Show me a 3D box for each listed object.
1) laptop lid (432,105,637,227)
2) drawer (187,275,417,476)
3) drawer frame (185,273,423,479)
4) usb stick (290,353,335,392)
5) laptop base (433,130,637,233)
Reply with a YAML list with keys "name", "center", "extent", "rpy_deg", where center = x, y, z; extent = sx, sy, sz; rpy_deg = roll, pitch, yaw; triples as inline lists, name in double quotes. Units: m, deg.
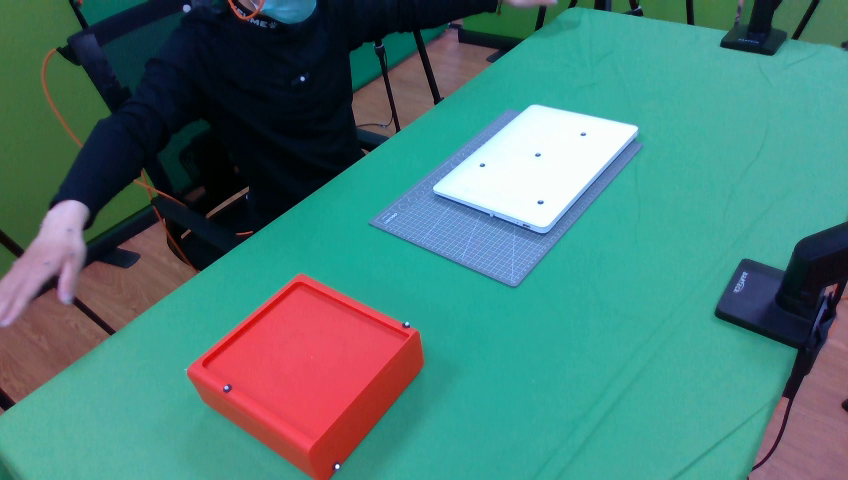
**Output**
- name: "laptop lid"
  center: [0.207, -0.152, 1.105]
  extent: [0.239, 0.013, 0.358]
  rpy_deg: [23, 49, 34]
- name: "drawer"
  center: [-0.148, 0.159, 0.760]
  extent: [0.210, 0.073, 0.195]
  rpy_deg: [22, 47, 29]
- name: "drawer frame"
  center: [-0.145, 0.158, 0.760]
  extent: [0.212, 0.083, 0.202]
  rpy_deg: [22, 47, 28]
- name: "usb stick"
  center: [-0.146, 0.171, 0.774]
  extent: [0.059, 0.027, 0.021]
  rpy_deg: [-29, 44, -24]
- name: "laptop base"
  center: [0.210, -0.142, 1.111]
  extent: [0.233, 0.023, 0.355]
  rpy_deg: [21, 47, 34]
